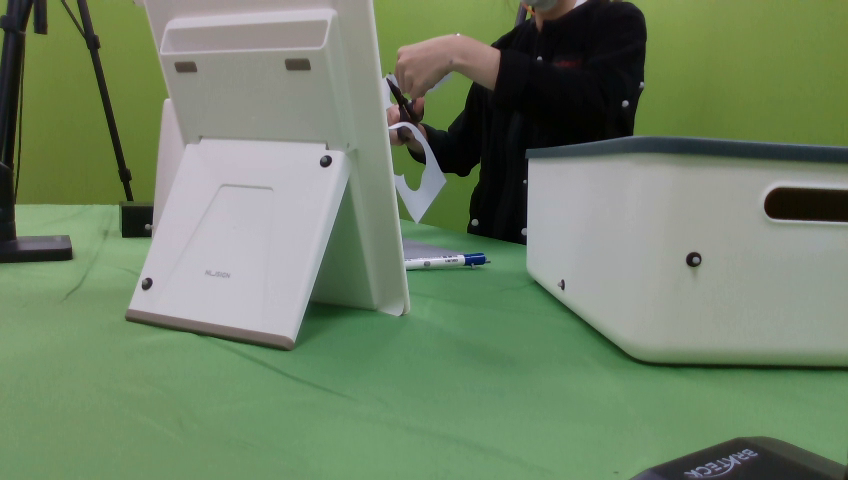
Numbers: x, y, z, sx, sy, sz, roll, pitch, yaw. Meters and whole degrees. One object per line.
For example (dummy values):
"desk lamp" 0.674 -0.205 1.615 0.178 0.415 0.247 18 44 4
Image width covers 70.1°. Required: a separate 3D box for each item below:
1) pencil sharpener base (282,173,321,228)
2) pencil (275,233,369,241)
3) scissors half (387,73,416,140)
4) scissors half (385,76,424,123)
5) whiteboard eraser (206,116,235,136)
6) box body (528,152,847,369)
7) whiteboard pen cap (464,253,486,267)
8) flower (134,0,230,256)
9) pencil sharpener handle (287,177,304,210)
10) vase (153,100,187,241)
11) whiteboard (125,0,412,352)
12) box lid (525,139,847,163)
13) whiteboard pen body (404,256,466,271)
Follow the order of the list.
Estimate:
"pencil sharpener base" -0.247 -0.080 1.212 0.061 0.107 0.076 -2 5 -28
"pencil" -0.169 -0.006 1.036 0.195 0.012 0.012 -2 9 -45
"scissors half" -0.042 -0.231 1.057 0.012 0.040 0.175 24 -21 23
"scissors half" -0.033 -0.249 1.061 0.013 0.040 0.176 19 -1 21
"whiteboard eraser" -0.450 -0.252 1.335 0.056 0.042 0.112 1 7 -22
"box body" 0.257 -0.005 0.591 0.254 0.160 0.363 2 7 -4
"whiteboard pen cap" 0.066 0.027 0.818 0.033 0.018 0.018 -6 10 -24
"flower" -0.282 -0.147 0.713 0.038 0.362 0.044 -23 24 -31
"pencil sharpener handle" -0.269 -0.096 1.257 0.036 0.067 0.030 -8 8 -27
"vase" -0.278 -0.066 0.736 0.098 0.200 0.098 2 9 0
"whiteboard" -0.151 -0.049 0.472 0.216 0.305 0.144 6 27 24
"box lid" 0.261 -0.078 0.580 0.264 0.015 0.371 2 7 -4
"whiteboard pen body" 0.013 0.030 0.792 0.141 0.017 0.017 -3 9 -24
